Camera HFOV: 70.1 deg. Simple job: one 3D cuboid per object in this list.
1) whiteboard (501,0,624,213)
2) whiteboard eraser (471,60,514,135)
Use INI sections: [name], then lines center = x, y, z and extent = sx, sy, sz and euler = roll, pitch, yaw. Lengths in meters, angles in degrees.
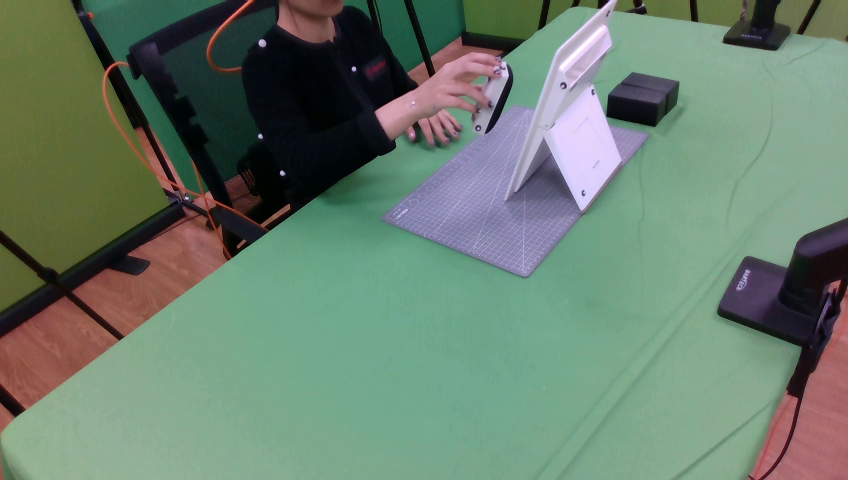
[whiteboard]
center = 0.271, -0.189, 0.977
extent = 0.143, 0.306, 0.218
euler = 34, 53, 16
[whiteboard eraser]
center = 0.112, -0.230, 0.983
extent = 0.042, 0.112, 0.055
euler = 12, 39, -14
